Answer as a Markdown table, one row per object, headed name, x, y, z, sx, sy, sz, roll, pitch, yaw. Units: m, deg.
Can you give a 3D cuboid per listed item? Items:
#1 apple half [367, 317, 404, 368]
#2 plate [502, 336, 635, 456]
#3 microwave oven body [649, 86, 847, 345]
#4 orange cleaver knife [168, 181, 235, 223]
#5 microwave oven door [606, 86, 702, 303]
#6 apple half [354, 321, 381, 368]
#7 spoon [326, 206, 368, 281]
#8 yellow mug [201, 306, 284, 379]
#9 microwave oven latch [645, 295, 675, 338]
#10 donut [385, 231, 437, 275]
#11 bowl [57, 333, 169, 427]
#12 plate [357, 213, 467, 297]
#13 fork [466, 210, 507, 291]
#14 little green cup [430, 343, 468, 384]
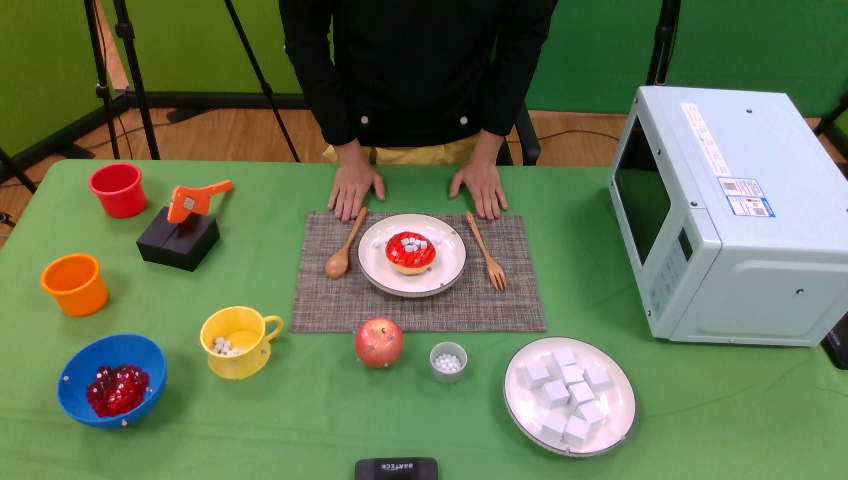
| name | x | y | z | sx | sy | sz | roll | pitch | yaw |
| --- | --- | --- | --- | --- | --- | --- | --- | --- | --- |
| apple half | -0.061 | 0.167 | 0.998 | 0.053 | 0.075 | 0.080 | -11 | 44 | -20 |
| plate | 0.225 | 0.248 | 0.963 | 0.208 | 0.039 | 0.206 | 2 | 46 | -2 |
| microwave oven body | 0.568 | -0.053 | 1.118 | 0.326 | 0.261 | 0.439 | 2 | 45 | -1 |
| orange cleaver knife | -0.436 | -0.077 | 1.196 | 0.012 | 0.077 | 0.211 | 16 | 15 | 10 |
| microwave oven door | 0.423 | -0.094 | 1.141 | 0.039 | 0.245 | 0.353 | 2 | 46 | -1 |
| apple half | -0.097 | 0.176 | 0.985 | 0.033 | 0.081 | 0.080 | -12 | 48 | -20 |
| spoon | -0.146 | 0.002 | 1.187 | 0.041 | 0.022 | 0.193 | 12 | 46 | 8 |
| yellow mug | -0.291 | 0.160 | 0.993 | 0.131 | 0.064 | 0.099 | -23 | 51 | -25 |
| microwave oven latch | 0.412 | 0.134 | 1.061 | 0.030 | 0.029 | 0.078 | 3 | 45 | 0 |
| donut | -0.024 | 0.024 | 1.142 | 0.099 | 0.048 | 0.098 | 3 | 44 | -3 |
| bowl | -0.456 | 0.223 | 0.911 | 0.151 | 0.077 | 0.150 | 3 | 45 | -2 |
| plate | -0.023 | 0.032 | 1.150 | 0.209 | 0.038 | 0.208 | 2 | 46 | -2 |
| fork | 0.119 | 0.017 | 1.188 | 0.028 | 0.019 | 0.206 | -16 | 49 | -5 |
| little green cup | 0.039 | 0.204 | 0.993 | 0.061 | 0.039 | 0.061 | 2 | 46 | -2 |
